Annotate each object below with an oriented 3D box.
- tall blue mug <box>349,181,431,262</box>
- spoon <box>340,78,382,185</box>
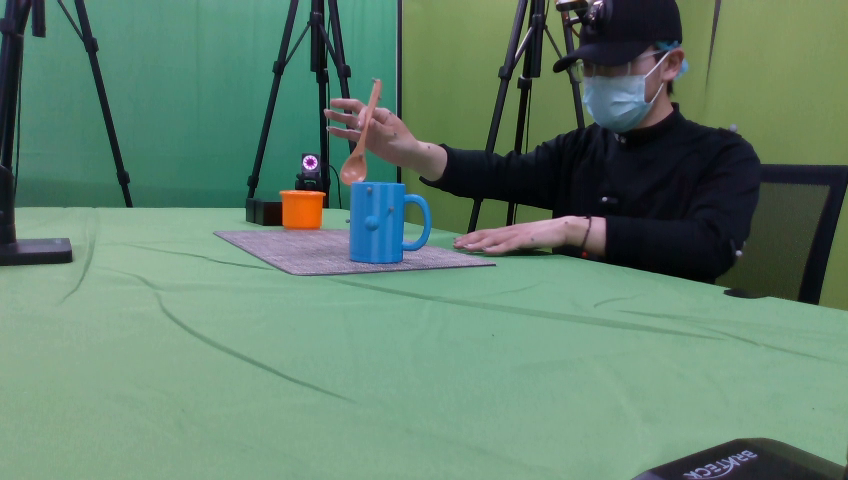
[{"bbox_3d":[-0.051,-0.028,0.849,0.108,0.108,0.077,-1,7,-22],"label":"tall blue mug"},{"bbox_3d":[-0.095,-0.178,0.982,0.041,0.193,0.021,15,-11,0],"label":"spoon"}]
